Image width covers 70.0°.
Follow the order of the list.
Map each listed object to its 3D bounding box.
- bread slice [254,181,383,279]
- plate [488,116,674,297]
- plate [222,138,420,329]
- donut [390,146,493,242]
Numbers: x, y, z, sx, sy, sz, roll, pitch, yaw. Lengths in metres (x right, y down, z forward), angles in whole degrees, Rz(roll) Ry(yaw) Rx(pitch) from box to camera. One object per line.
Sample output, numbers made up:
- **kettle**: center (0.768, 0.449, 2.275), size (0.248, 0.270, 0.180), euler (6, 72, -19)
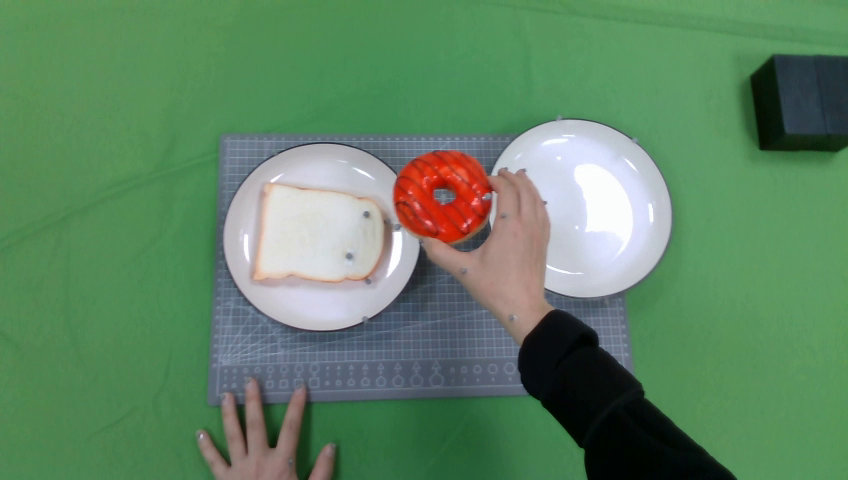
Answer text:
- **bread slice**: center (-0.111, -0.010, 0.655), size (0.134, 0.018, 0.106), euler (2, 77, -2)
- **plate**: center (0.171, -0.036, 0.679), size (0.208, 0.039, 0.206), euler (1, 77, -4)
- **plate**: center (-0.108, -0.006, 0.652), size (0.209, 0.038, 0.208), euler (1, 77, -4)
- **donut**: center (0.016, -0.045, 0.578), size (0.099, 0.048, 0.098), euler (-1, 70, 4)
